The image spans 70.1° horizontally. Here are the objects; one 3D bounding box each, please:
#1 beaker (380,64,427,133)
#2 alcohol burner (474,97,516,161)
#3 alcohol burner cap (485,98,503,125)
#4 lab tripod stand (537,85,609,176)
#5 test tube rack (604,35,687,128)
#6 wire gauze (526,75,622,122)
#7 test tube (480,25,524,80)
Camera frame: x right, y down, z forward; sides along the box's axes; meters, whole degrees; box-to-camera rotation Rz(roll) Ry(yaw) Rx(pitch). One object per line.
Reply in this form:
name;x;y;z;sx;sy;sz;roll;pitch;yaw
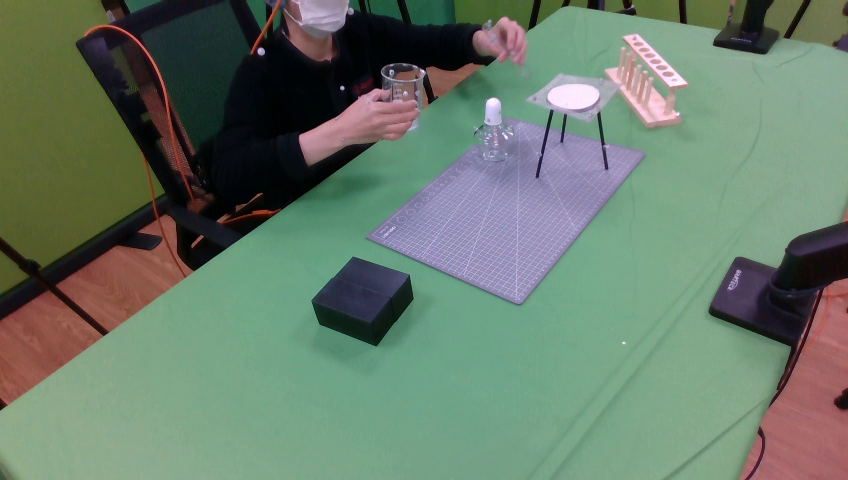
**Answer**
beaker;-0.036;-0.246;1.054;0.084;0.100;0.073;-15;43;-23
alcohol burner;0.131;-0.208;1.121;0.078;0.119;0.077;-6;40;5
alcohol burner cap;0.126;-0.234;1.097;0.034;0.048;0.033;-3;39;3
lab tripod stand;0.259;-0.192;1.068;0.148;0.132;0.147;-4;43;4
test tube rack;0.447;-0.330;1.241;0.067;0.085;0.241;-9;41;-2
wire gauze;0.255;-0.248;1.030;0.124;0.011;0.122;24;51;32
test tube;0.144;-0.340;1.105;0.017;0.151;0.017;-17;58;30
